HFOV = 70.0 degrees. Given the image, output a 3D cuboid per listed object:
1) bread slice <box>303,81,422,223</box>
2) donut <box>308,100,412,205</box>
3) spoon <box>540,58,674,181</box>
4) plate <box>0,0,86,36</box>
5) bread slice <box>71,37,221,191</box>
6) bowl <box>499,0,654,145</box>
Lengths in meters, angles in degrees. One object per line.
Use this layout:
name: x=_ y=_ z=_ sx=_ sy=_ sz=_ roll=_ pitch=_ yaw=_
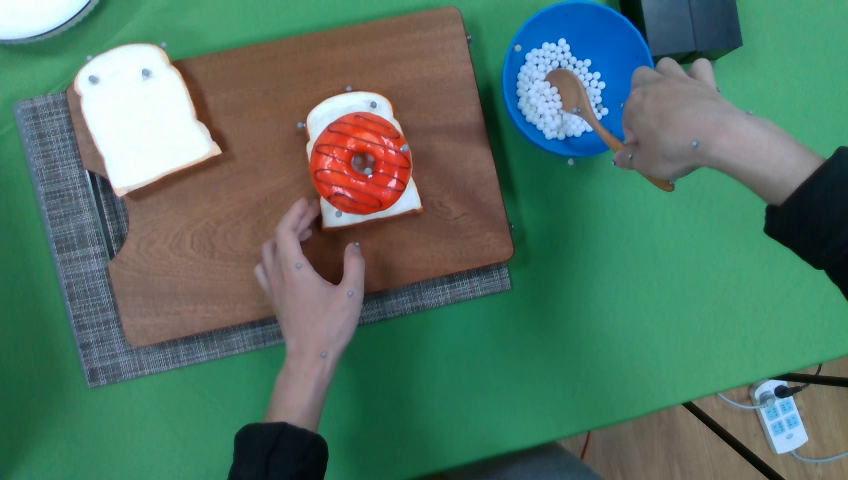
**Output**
bread slice: x=-0.068 y=-0.090 z=0.605 sx=0.105 sy=0.019 sz=0.131 roll=-14 pitch=94 yaw=-5
donut: x=-0.060 y=-0.082 z=0.575 sx=0.099 sy=0.048 sz=0.099 roll=0 pitch=93 yaw=-5
spoon: x=0.164 y=-0.113 z=0.563 sx=0.022 sy=0.191 sz=0.042 roll=-9 pitch=137 yaw=-22
plate: x=-0.410 y=-0.301 z=0.590 sx=0.208 sy=0.039 sz=0.207 roll=0 pitch=92 yaw=-4
bread slice: x=-0.275 y=-0.126 z=0.586 sx=0.107 sy=0.018 sz=0.134 roll=-28 pitch=92 yaw=-4
bowl: x=0.145 y=-0.166 z=0.617 sx=0.151 sy=0.076 sz=0.151 roll=0 pitch=92 yaw=-4
